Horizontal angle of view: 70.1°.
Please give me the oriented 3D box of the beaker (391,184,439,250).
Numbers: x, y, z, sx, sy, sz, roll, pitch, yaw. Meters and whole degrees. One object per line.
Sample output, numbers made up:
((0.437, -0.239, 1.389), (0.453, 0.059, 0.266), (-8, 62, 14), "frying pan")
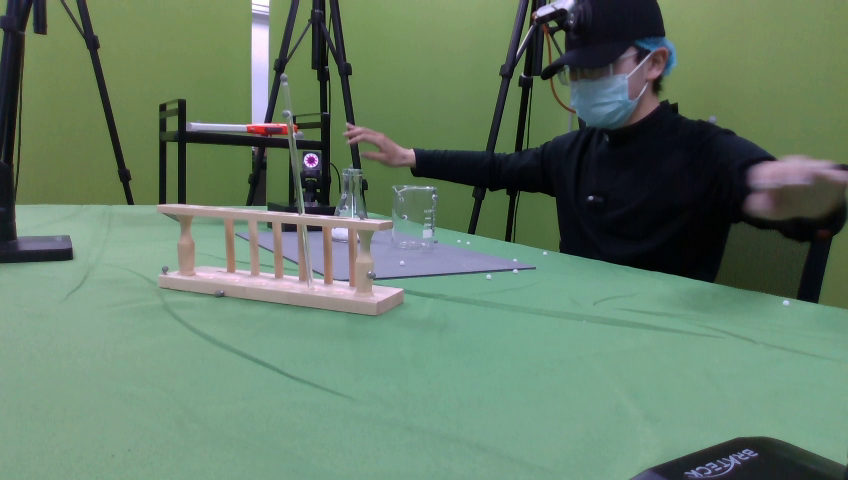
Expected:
((-0.018, -0.038, 0.961), (0.073, 0.100, 0.084), (7, 9, 34), "beaker")

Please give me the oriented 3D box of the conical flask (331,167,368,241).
((-0.123, -0.061, 1.019), (0.075, 0.122, 0.075), (2, 7, 0), "conical flask")

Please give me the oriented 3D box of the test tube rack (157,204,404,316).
((-0.143, 0.013, 0.599), (0.242, 0.085, 0.067), (5, 8, 19), "test tube rack")

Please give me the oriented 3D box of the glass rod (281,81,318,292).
((-0.116, -0.047, 0.563), (0.008, 0.199, 0.008), (-7, 6, 1), "glass rod")

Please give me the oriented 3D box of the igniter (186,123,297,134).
((-0.392, -0.248, 1.341), (0.057, 0.025, 0.278), (9, 14, 38), "igniter")
